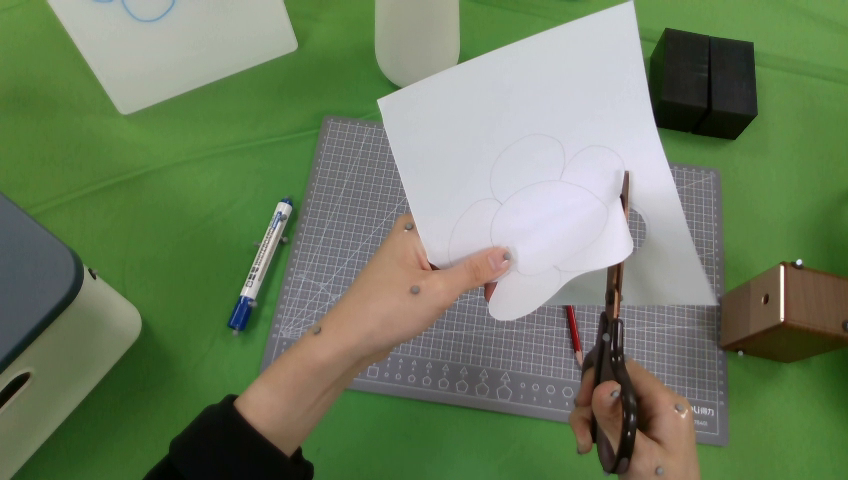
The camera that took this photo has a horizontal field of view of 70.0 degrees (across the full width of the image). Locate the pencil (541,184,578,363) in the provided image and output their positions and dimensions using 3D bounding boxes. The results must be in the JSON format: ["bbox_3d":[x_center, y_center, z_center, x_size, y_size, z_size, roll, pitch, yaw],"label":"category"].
[{"bbox_3d":[0.141,0.031,0.624,0.012,0.012,0.192,-5,71,-3],"label":"pencil"}]

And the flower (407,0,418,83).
[{"bbox_3d":[-0.015,-0.298,0.558,0.044,0.365,0.038,1,51,3],"label":"flower"}]

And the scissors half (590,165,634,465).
[{"bbox_3d":[0.112,0.043,0.352,0.013,0.040,0.175,3,86,-7],"label":"scissors half"}]

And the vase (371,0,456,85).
[{"bbox_3d":[-0.012,-0.254,0.631,0.098,0.201,0.097,0,67,0],"label":"vase"}]

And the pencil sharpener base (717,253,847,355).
[{"bbox_3d":[0.336,0.064,0.566,0.077,0.107,0.061,12,68,0],"label":"pencil sharpener base"}]

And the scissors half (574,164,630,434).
[{"bbox_3d":[0.111,0.040,0.373,0.013,0.040,0.176,4,110,-2],"label":"scissors half"}]

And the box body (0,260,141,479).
[{"bbox_3d":[-0.472,0.045,0.522,0.362,0.161,0.253,34,72,11],"label":"box body"}]

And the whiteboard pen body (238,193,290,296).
[{"bbox_3d":[-0.167,0.014,0.619,0.017,0.017,0.140,14,67,5],"label":"whiteboard pen body"}]

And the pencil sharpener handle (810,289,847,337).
[{"bbox_3d":[0.386,0.071,0.554,0.030,0.068,0.035,12,63,0],"label":"pencil sharpener handle"}]

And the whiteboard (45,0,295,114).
[{"bbox_3d":[-0.298,-0.328,0.627,0.217,0.308,0.142,-25,52,-10],"label":"whiteboard"}]

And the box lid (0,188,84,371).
[{"bbox_3d":[-0.472,0.016,0.453,0.370,0.015,0.262,34,71,11],"label":"box lid"}]

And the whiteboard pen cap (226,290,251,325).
[{"bbox_3d":[-0.181,0.066,0.596,0.018,0.018,0.033,14,65,4],"label":"whiteboard pen cap"}]
